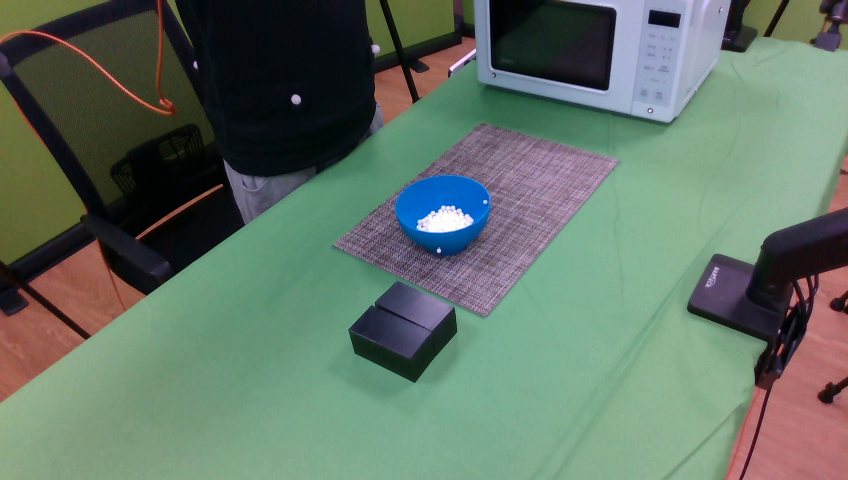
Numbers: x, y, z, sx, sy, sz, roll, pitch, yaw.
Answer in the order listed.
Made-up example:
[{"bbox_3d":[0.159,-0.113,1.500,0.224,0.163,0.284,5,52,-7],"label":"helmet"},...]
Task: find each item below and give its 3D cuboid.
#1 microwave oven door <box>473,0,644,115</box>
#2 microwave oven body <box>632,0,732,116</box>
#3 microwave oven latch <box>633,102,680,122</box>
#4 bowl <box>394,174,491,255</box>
[{"bbox_3d":[0.257,-0.396,1.199,0.353,0.245,0.039,21,48,29],"label":"microwave oven door"},{"bbox_3d":[0.377,-0.462,1.267,0.438,0.261,0.327,21,48,30],"label":"microwave oven body"},{"bbox_3d":[0.443,-0.249,1.157,0.078,0.029,0.030,21,49,30],"label":"microwave oven latch"},{"bbox_3d":[0.032,-0.030,0.949,0.151,0.077,0.150,-4,40,4],"label":"bowl"}]
